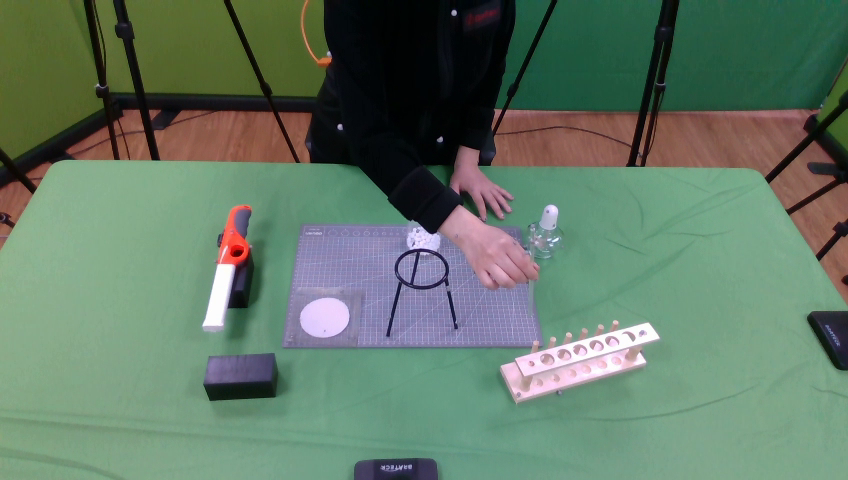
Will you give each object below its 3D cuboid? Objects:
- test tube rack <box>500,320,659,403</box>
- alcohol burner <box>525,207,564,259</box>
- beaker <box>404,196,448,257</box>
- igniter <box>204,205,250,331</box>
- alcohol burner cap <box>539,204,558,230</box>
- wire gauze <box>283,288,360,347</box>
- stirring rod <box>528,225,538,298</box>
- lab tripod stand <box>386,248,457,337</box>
[{"bbox_3d":[0.252,0.187,0.994,0.243,0.085,0.066,-12,48,-15],"label":"test tube rack"},{"bbox_3d":[0.236,-0.020,1.174,0.078,0.120,0.077,1,48,-1],"label":"alcohol burner"},{"bbox_3d":[0.002,-0.024,1.164,0.084,0.101,0.073,5,46,0],"label":"beaker"},{"bbox_3d":[-0.344,0.039,1.065,0.057,0.025,0.274,2,48,-6],"label":"igniter"},{"bbox_3d":[0.239,-0.045,1.148,0.034,0.048,0.033,2,42,-1],"label":"alcohol burner cap"},{"bbox_3d":[-0.177,0.132,1.063,0.125,0.011,0.120,2,46,1],"label":"wire gauze"},{"bbox_3d":[0.159,0.037,0.884,0.014,0.177,0.006,-6,51,5],"label":"stirring rod"},{"bbox_3d":[-0.010,0.087,1.032,0.148,0.132,0.147,1,45,-1],"label":"lab tripod stand"}]
